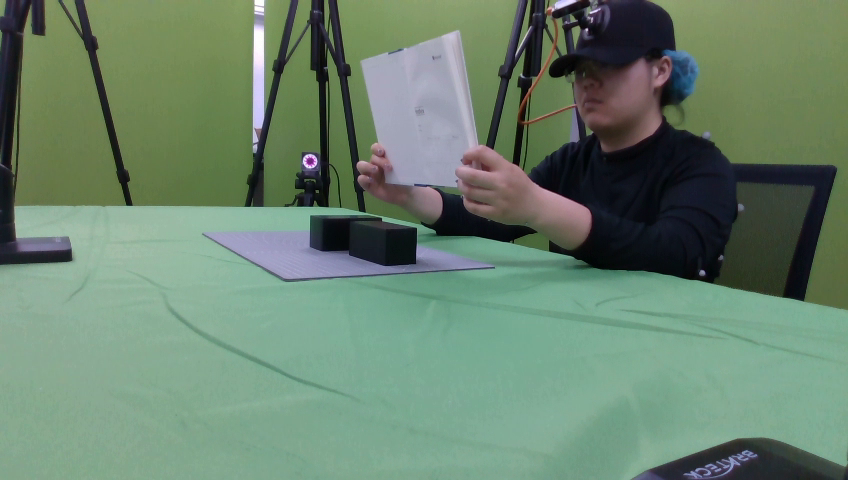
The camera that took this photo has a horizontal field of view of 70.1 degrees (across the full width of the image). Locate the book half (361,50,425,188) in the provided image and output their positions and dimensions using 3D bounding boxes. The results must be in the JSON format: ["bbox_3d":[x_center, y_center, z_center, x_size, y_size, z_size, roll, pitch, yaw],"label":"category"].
[{"bbox_3d":[-0.052,-0.189,0.974,0.007,0.210,0.142,-19,16,-26],"label":"book half"}]

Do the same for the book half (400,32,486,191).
[{"bbox_3d":[0.026,-0.173,0.856,0.016,0.210,0.148,-18,16,-27],"label":"book half"}]
